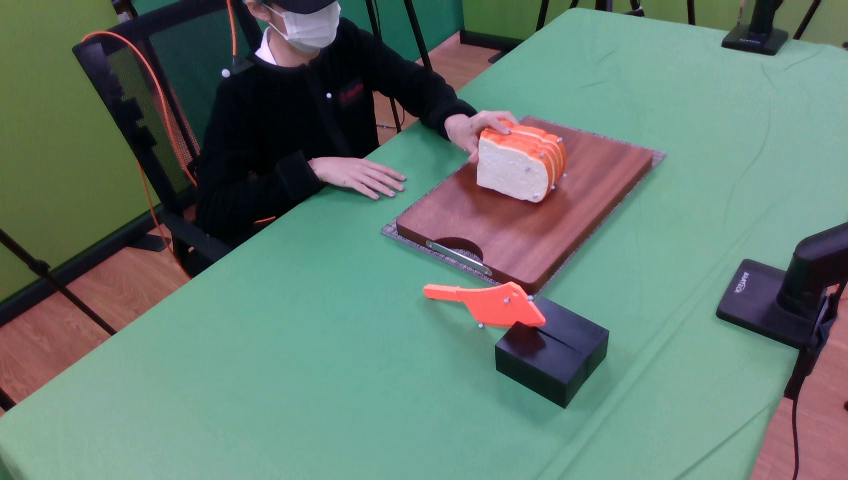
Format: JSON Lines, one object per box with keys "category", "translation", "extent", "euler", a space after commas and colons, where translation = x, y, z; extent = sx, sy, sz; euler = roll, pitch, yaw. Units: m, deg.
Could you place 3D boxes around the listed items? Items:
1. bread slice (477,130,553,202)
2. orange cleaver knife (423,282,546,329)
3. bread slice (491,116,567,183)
{"category": "bread slice", "translation": [0.145, -0.113, 0.976], "extent": [0.131, 0.105, 0.019], "euler": [23, 49, 23]}
{"category": "orange cleaver knife", "translation": [0.076, 0.087, 0.814], "extent": [0.012, 0.077, 0.210], "euler": [-41, 22, -31]}
{"category": "bread slice", "translation": [0.172, -0.142, 1.010], "extent": [0.133, 0.107, 0.018], "euler": [21, 52, 19]}
